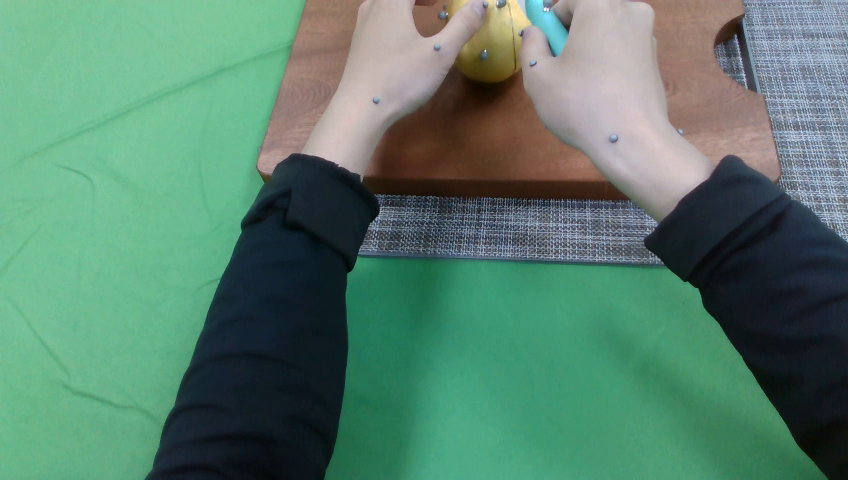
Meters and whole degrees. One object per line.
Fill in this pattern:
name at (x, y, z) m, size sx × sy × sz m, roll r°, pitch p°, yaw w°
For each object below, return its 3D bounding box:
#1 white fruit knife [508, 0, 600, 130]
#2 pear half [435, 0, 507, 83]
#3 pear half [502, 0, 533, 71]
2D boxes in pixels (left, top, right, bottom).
white fruit knife at (0.068, -0.161, 0.415) m, size 0.016 × 0.027 × 0.205 m, roll -17°, pitch 64°, yaw -12°
pear half at (0.036, -0.177, 0.476) m, size 0.056 × 0.111 × 0.075 m, roll -14°, pitch 54°, yaw -4°
pear half at (0.072, -0.180, 0.484) m, size 0.031 × 0.089 × 0.069 m, roll -16°, pitch 56°, yaw -2°
